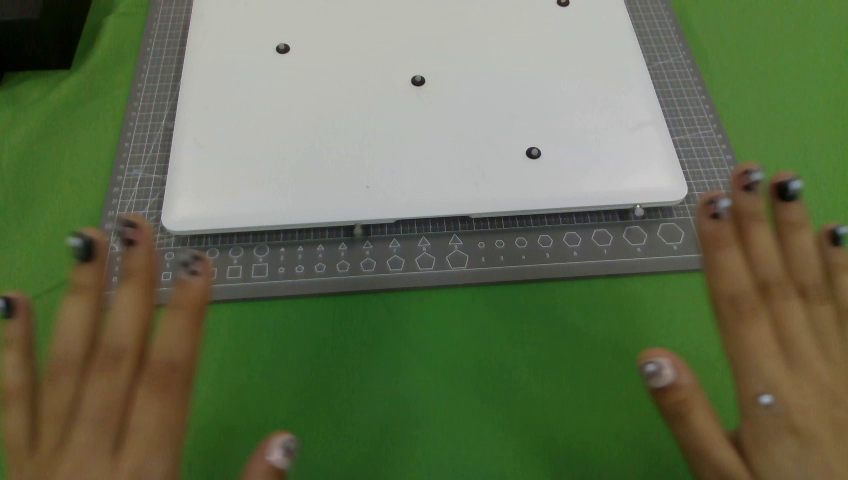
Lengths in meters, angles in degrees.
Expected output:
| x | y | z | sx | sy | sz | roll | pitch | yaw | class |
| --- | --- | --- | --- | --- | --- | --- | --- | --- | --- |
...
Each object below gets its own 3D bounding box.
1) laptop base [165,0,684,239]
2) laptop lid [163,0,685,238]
| x | y | z | sx | sy | sz | roll | pitch | yaw | class |
| --- | --- | --- | --- | --- | --- | --- | --- | --- | --- |
| -0.004 | -0.110 | 0.465 | 0.355 | 0.023 | 0.233 | -4 | 63 | -4 | laptop base |
| -0.004 | -0.114 | 0.453 | 0.357 | 0.013 | 0.239 | -2 | 62 | -3 | laptop lid |
